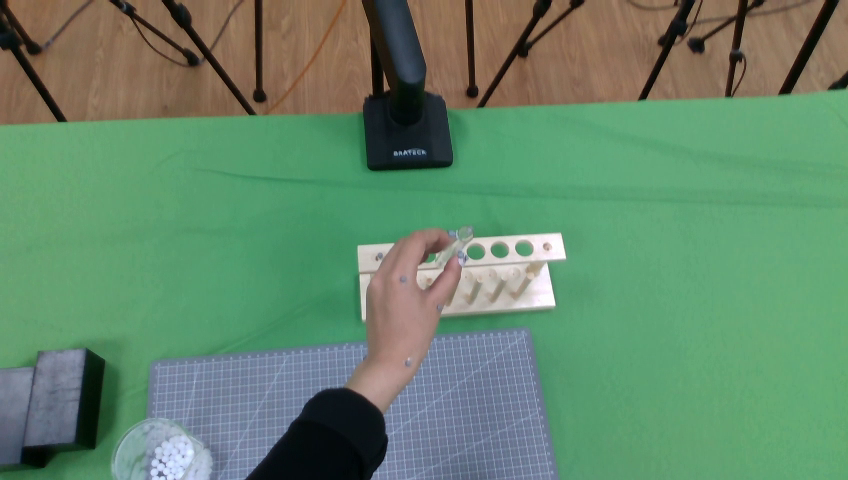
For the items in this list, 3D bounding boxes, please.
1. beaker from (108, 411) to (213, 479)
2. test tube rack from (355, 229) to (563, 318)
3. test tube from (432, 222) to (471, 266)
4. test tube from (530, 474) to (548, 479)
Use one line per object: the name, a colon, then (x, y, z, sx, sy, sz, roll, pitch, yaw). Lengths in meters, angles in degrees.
beaker: (-0.258, 0.218, 0.614, 0.084, 0.101, 0.073, -11, 66, -10)
test tube rack: (0.041, 0.042, 0.734, 0.243, 0.086, 0.066, -3, 65, -6)
test tube: (0.025, 0.007, 0.596, 0.017, 0.150, 0.017, 1, 78, -7)
test tube: (0.092, 0.244, 0.554, 0.017, 0.152, 0.017, 1, 52, -1)
